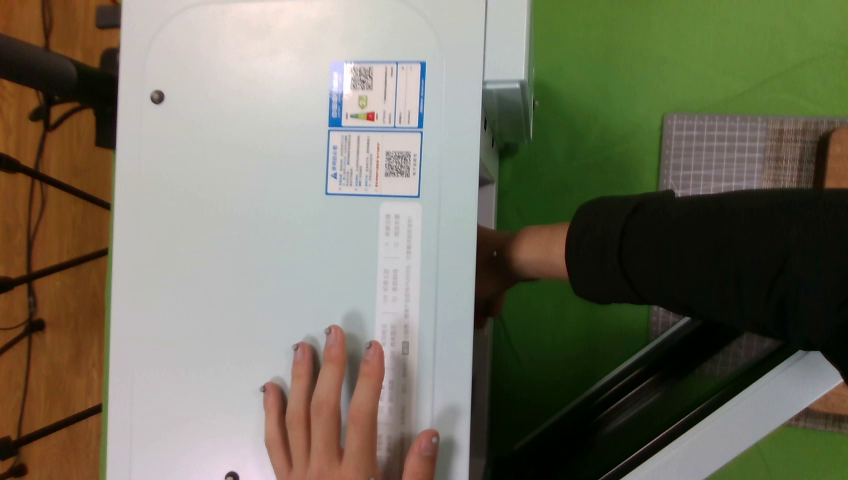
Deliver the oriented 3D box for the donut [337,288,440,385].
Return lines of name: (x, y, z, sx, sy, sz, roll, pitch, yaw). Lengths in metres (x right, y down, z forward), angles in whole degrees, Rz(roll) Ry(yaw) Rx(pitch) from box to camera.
donut: (-0.033, 0.091, 0.571, 0.099, 0.048, 0.099, 0, 111, 0)

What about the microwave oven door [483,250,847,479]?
microwave oven door: (0.187, 0.135, 0.490, 0.356, 0.244, 0.039, -41, 82, 8)

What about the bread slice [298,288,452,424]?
bread slice: (-0.047, 0.109, 0.525, 0.134, 0.018, 0.107, -19, 90, 22)

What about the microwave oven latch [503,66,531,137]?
microwave oven latch: (0.092, -0.145, 0.608, 0.030, 0.029, 0.079, 1, 91, 10)

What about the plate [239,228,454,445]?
plate: (-0.073, 0.092, 0.590, 0.207, 0.039, 0.207, 0, 91, 6)

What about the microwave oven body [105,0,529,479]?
microwave oven body: (-0.077, 0.027, 0.541, 0.325, 0.260, 0.441, 2, 91, 10)

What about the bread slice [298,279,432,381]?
bread slice: (-0.061, 0.091, 0.612, 0.132, 0.019, 0.105, 3, 102, -4)
